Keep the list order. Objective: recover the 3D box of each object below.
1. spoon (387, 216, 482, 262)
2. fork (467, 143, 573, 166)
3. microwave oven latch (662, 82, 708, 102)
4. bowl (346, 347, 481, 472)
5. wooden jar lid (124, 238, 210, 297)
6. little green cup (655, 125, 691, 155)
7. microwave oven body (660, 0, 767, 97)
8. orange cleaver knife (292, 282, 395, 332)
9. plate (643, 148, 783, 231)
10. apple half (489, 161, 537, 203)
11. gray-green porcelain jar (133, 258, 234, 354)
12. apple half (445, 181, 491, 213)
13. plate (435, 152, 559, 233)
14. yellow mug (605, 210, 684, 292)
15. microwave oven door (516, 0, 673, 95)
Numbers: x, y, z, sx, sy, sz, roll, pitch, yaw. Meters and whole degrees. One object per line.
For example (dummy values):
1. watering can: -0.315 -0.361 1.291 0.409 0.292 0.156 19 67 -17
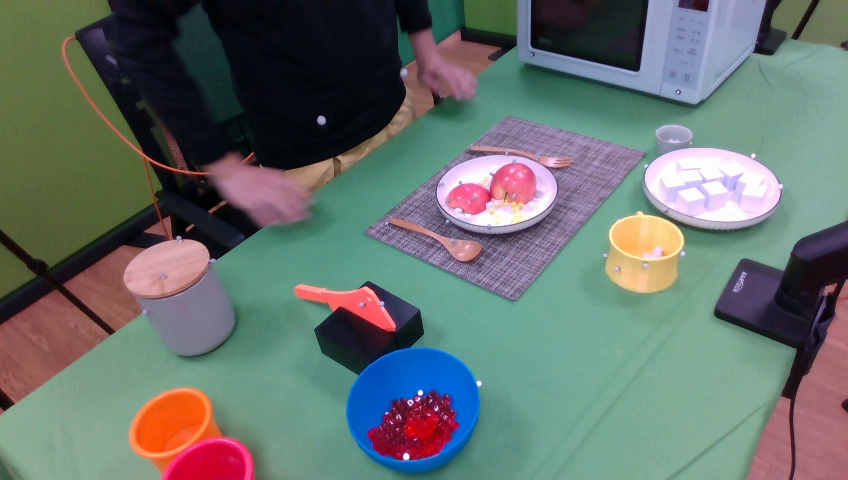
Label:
1. spoon: 0.012 -0.009 0.973 0.192 0.022 0.041 25 71 31
2. fork: 0.176 -0.163 1.131 0.206 0.019 0.028 15 60 21
3. microwave oven latch: 0.517 -0.298 1.202 0.078 0.029 0.030 28 52 34
4. bowl: -0.008 0.205 0.691 0.151 0.077 0.150 -4 40 4
5. wooden jar lid: -0.335 0.039 0.794 0.108 0.021 0.108 -2 40 2
6. little green cup: 0.450 -0.178 1.099 0.061 0.039 0.061 -5 40 4
7. microwave oven body: 0.473 -0.517 1.313 0.438 0.261 0.327 26 51 34
8. orange cleaver knife: -0.116 0.091 0.835 0.209 0.077 0.012 2 32 48
9. plate: 0.464 -0.080 0.986 0.207 0.039 0.206 -4 41 4
10. apple half: 0.154 -0.106 1.030 0.080 0.053 0.075 22 46 31
11. gray-green porcelain jar: -0.328 0.087 0.836 0.106 0.127 0.105 -4 41 4
12. apple half: 0.077 -0.083 1.029 0.081 0.033 0.081 -2 41 2
13. plate: 0.123 -0.078 1.026 0.209 0.038 0.208 -4 40 4
14. yellow mug: 0.318 0.007 0.883 0.100 0.064 0.130 0 41 8
15. microwave oven door: 0.344 -0.458 1.256 0.353 0.245 0.039 26 51 33
